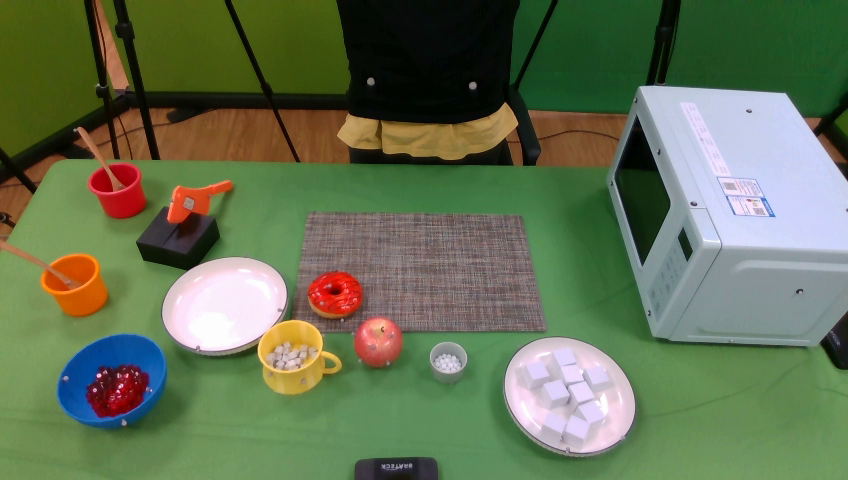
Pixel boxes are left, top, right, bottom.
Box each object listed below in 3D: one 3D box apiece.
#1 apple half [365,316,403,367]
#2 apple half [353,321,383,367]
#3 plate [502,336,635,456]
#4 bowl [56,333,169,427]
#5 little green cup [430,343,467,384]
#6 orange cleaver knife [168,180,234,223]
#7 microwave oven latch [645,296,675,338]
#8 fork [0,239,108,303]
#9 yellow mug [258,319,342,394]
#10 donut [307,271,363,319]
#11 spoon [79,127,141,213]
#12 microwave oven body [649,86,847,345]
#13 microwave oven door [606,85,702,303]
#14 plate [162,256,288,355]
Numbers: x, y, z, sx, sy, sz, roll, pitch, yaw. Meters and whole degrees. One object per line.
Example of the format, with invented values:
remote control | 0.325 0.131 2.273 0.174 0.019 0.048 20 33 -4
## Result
apple half | -0.063 0.165 1.000 0.053 0.075 0.080 -16 45 -24
apple half | -0.098 0.177 0.984 0.033 0.081 0.081 -17 49 -25
plate | 0.225 0.248 0.963 0.208 0.039 0.206 2 46 -2
bowl | -0.456 0.223 0.912 0.151 0.077 0.150 3 45 -2
little green cup | 0.039 0.203 0.994 0.061 0.039 0.061 2 46 -2
orange cleaver knife | -0.436 -0.078 1.196 0.012 0.077 0.211 15 15 10
microwave oven latch | 0.411 0.134 1.061 0.030 0.029 0.078 4 45 0
fork | -0.633 0.048 1.017 0.208 0.018 0.028 40 41 -27
yellow mug | -0.196 0.188 0.972 0.131 0.064 0.099 9 46 4
donut | -0.157 0.097 1.072 0.099 0.048 0.098 4 45 -3
spoon | -0.625 -0.139 1.203 0.041 0.021 0.194 -33 100 -25
microwave oven body | 0.567 -0.053 1.118 0.326 0.261 0.439 2 45 -1
microwave oven door | 0.423 -0.094 1.140 0.039 0.245 0.353 2 46 -1
plate | -0.341 0.115 1.051 0.209 0.038 0.208 2 46 -2
